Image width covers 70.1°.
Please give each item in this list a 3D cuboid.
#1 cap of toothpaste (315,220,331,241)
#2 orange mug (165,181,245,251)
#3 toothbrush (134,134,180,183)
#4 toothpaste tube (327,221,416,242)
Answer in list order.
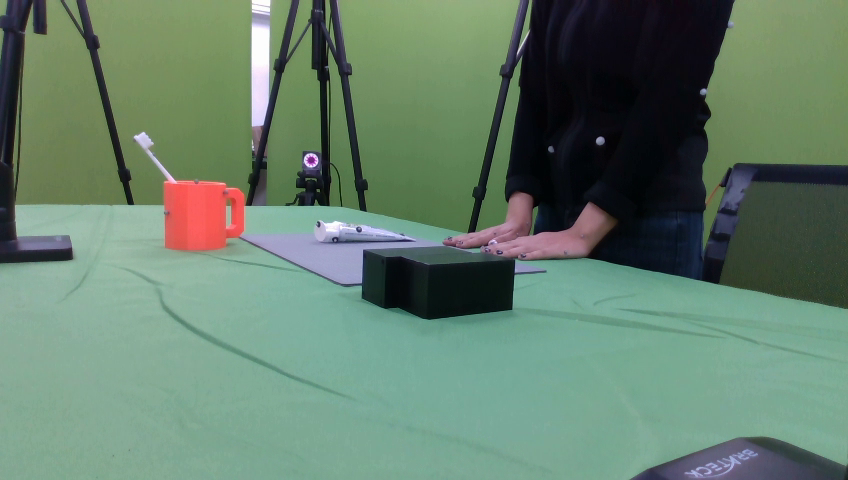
[{"bbox_3d":[-0.164,-0.016,0.982,0.011,0.037,0.037,-9,12,-43],"label":"cap of toothpaste"},{"bbox_3d":[-0.326,-0.040,0.911,0.083,0.101,0.127,8,14,37],"label":"orange mug"},{"bbox_3d":[-0.348,-0.077,0.874,0.014,0.182,0.017,-14,29,46],"label":"toothbrush"},{"bbox_3d":[-0.095,-0.012,1.026,0.166,0.034,0.055,2,13,-33],"label":"toothpaste tube"}]
